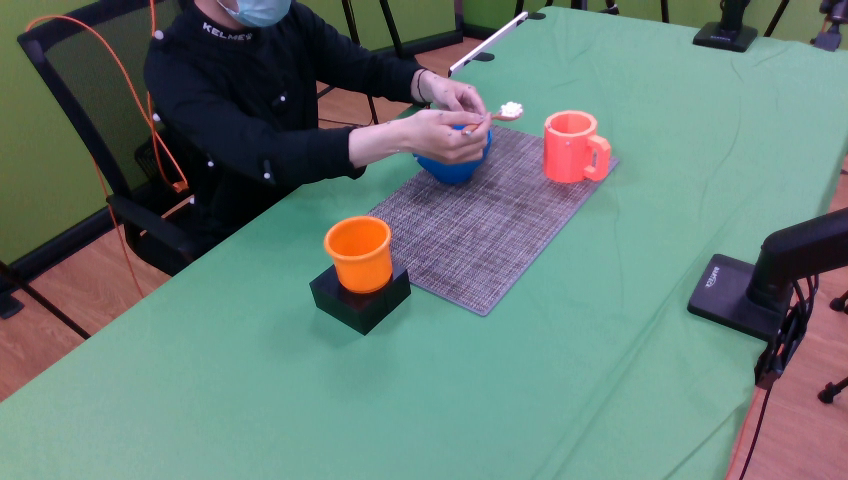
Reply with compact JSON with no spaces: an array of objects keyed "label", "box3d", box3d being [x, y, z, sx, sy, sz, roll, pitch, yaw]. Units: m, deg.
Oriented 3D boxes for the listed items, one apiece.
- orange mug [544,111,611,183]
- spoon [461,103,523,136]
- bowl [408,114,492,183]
[{"label":"orange mug","box3d":[0.266,-0.157,1.049,0.084,0.101,0.125,-33,42,-27]},{"label":"spoon","box3d":[0.106,-0.192,0.957,0.041,0.022,0.194,6,22,33]},{"label":"bowl","box3d":[0.049,-0.157,1.097,0.151,0.077,0.150,-4,41,4]}]
